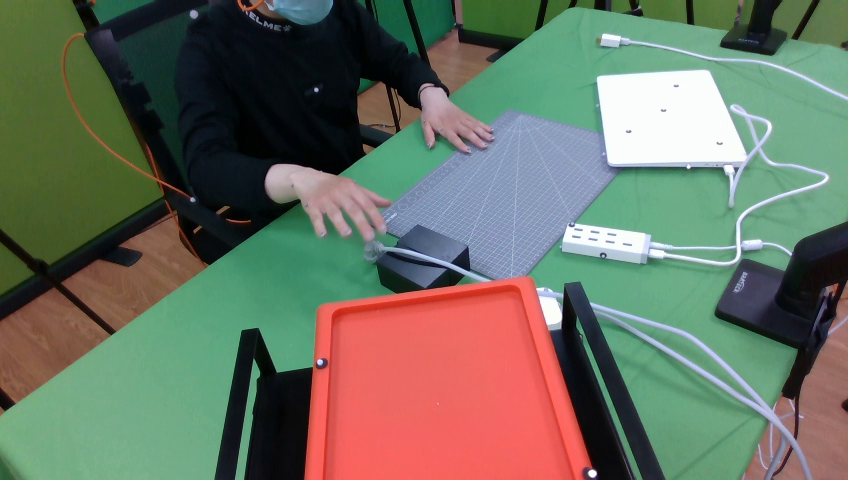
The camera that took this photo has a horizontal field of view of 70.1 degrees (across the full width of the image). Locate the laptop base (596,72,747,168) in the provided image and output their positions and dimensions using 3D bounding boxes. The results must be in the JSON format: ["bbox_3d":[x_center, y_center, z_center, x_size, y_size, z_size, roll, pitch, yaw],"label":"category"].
[{"bbox_3d":[0.469,-0.238,1.189,0.235,0.023,0.353,-1,40,11],"label":"laptop base"}]

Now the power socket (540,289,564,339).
[{"bbox_3d":[0.080,0.112,0.822,0.227,0.033,0.072,-7,41,-1],"label":"power socket"}]

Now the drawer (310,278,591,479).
[{"bbox_3d":[0.013,0.137,0.489,0.195,0.073,0.210,-7,41,0],"label":"drawer"}]

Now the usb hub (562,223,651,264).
[{"bbox_3d":[0.279,0.004,0.926,0.124,0.025,0.049,10,43,19],"label":"usb hub"}]

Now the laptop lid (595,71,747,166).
[{"bbox_3d":[0.465,-0.248,1.181,0.241,0.013,0.355,1,41,12],"label":"laptop lid"}]

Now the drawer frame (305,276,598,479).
[{"bbox_3d":[0.014,0.137,0.486,0.202,0.083,0.212,-8,41,-1],"label":"drawer frame"}]

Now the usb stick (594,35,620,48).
[{"bbox_3d":[0.443,-0.482,1.466,0.059,0.021,0.027,9,42,10],"label":"usb stick"}]

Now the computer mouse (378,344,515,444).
[{"bbox_3d":[0.018,0.126,0.520,0.116,0.041,0.063,13,47,29],"label":"computer mouse"}]

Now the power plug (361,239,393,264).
[{"bbox_3d":[-0.070,0.024,0.930,0.072,0.053,0.035,31,80,41],"label":"power plug"}]
